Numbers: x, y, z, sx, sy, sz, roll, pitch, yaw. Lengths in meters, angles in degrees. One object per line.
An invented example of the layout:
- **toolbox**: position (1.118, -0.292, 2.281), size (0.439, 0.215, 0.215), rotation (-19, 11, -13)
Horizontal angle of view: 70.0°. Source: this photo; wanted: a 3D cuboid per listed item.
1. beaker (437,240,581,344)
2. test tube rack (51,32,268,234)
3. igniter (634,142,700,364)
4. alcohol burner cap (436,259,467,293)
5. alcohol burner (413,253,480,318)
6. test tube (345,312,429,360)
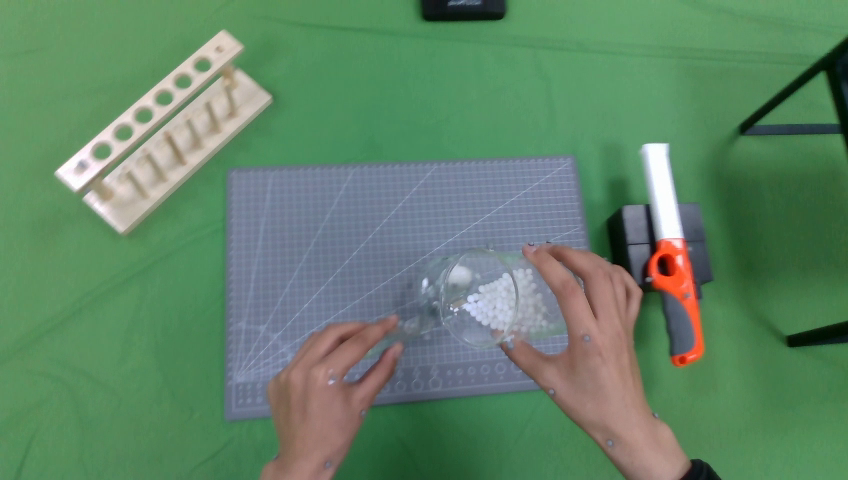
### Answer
- **beaker**: position (0.069, 0.043, 0.478), size (0.101, 0.084, 0.073), rotation (3, 62, -46)
- **test tube rack**: position (-0.299, -0.126, 0.713), size (0.066, 0.085, 0.242), rotation (39, 73, 7)
- **igniter**: position (0.289, 0.009, 0.726), size (0.057, 0.025, 0.274), rotation (-1, 71, -5)
- **alcohol burner cap**: position (0.032, 0.037, 0.649), size (0.034, 0.048, 0.033), rotation (1, 76, -5)
- **alcohol burner**: position (0.028, 0.047, 0.683), size (0.078, 0.119, 0.077), rotation (3, 71, -7)
- **test tube**: position (-0.038, 0.090, 0.551), size (0.017, 0.150, 0.017), rotation (12, 65, -27)
